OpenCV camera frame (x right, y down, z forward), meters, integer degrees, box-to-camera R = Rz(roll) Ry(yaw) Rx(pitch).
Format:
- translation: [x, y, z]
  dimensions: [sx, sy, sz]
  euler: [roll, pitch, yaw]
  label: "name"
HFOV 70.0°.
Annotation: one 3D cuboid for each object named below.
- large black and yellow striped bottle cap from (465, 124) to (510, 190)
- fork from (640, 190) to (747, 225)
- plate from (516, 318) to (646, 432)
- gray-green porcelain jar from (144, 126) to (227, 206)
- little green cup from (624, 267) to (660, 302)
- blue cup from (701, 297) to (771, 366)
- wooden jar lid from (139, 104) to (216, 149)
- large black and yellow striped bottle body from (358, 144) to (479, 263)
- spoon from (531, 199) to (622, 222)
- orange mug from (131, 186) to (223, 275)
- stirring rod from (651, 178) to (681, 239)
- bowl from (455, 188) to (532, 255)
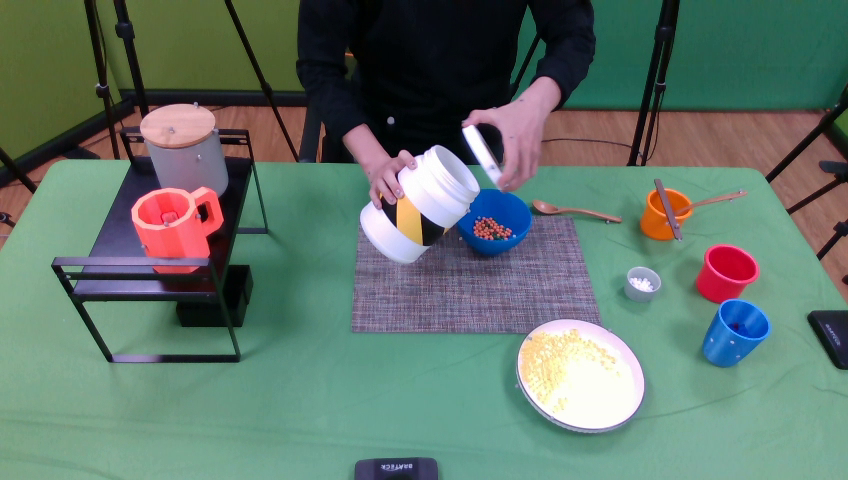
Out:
- translation: [0.102, -0.132, 0.963]
  dimensions: [0.019, 0.116, 0.114]
  euler: [-31, 47, 13]
  label: "large black and yellow striped bottle cap"
- translation: [0.533, -0.065, 1.211]
  dimensions: [0.207, 0.019, 0.028]
  euler: [-22, 28, 38]
  label: "fork"
- translation: [0.253, 0.221, 0.992]
  dimensions: [0.209, 0.038, 0.208]
  euler: [2, 46, -2]
  label: "plate"
- translation: [-0.375, -0.126, 0.967]
  dimensions: [0.106, 0.127, 0.105]
  euler: [2, 46, -2]
  label: "gray-green porcelain jar"
- translation: [0.406, 0.084, 1.135]
  dimensions: [0.061, 0.039, 0.061]
  euler: [3, 45, -3]
  label: "little green cup"
- translation: [0.519, 0.162, 1.025]
  dimensions: [0.093, 0.101, 0.092]
  euler: [3, 45, -3]
  label: "blue cup"
- translation: [-0.372, -0.169, 0.920]
  dimensions: [0.108, 0.021, 0.107]
  euler: [4, 44, -4]
  label: "wooden jar lid"
- translation: [-0.007, -0.062, 1.033]
  dimensions: [0.131, 0.184, 0.130]
  euler: [39, 23, -20]
  label: "large black and yellow striped bottle body"
- translation: [0.322, -0.060, 1.279]
  dimensions: [0.194, 0.022, 0.041]
  euler: [8, 32, 5]
  label: "spoon"
- translation: [-0.354, -0.023, 0.887]
  dimensions: [0.083, 0.101, 0.126]
  euler: [31, 56, 24]
  label: "orange mug"
- translation: [0.480, -0.065, 1.204]
  dimensions: [0.014, 0.006, 0.175]
  euler: [3, 46, -3]
  label: "stirring rod"
- translation: [0.130, -0.025, 1.186]
  dimensions: [0.151, 0.077, 0.150]
  euler: [2, 46, -2]
  label: "bowl"
